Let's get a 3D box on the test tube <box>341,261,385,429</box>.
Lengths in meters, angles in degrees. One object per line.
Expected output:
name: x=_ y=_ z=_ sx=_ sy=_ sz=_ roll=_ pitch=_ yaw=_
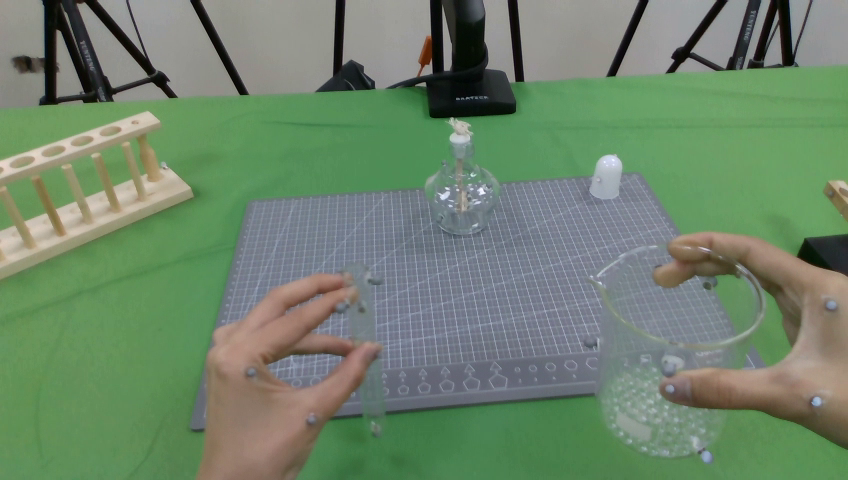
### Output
test tube: x=-0.036 y=0.072 z=0.377 sx=0.017 sy=0.151 sz=0.017 roll=-1 pitch=41 yaw=1

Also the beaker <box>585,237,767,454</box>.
beaker: x=0.126 y=0.059 z=0.324 sx=0.083 sy=0.101 sz=0.073 roll=14 pitch=45 yaw=26

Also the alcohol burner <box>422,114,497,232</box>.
alcohol burner: x=0.035 y=-0.069 z=0.605 sx=0.078 sy=0.120 sz=0.077 roll=-2 pitch=38 yaw=2

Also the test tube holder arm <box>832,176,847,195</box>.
test tube holder arm: x=0.391 y=0.000 z=0.512 sx=0.013 sy=0.015 sz=0.176 roll=-8 pitch=39 yaw=5

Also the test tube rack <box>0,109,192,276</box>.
test tube rack: x=-0.377 y=-0.047 z=0.622 sx=0.242 sy=0.086 sz=0.066 roll=-30 pitch=47 yaw=-30

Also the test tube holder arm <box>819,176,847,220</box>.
test tube holder arm: x=0.384 y=-0.028 z=0.547 sx=0.010 sy=0.015 sz=0.087 roll=-8 pitch=39 yaw=6

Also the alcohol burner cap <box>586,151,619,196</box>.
alcohol burner cap: x=0.196 y=-0.075 z=0.663 sx=0.034 sy=0.048 sz=0.033 roll=-1 pitch=40 yaw=1
